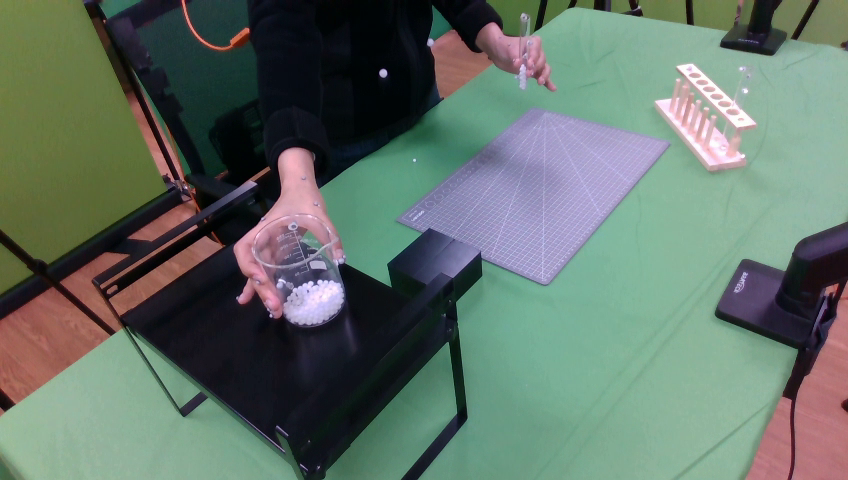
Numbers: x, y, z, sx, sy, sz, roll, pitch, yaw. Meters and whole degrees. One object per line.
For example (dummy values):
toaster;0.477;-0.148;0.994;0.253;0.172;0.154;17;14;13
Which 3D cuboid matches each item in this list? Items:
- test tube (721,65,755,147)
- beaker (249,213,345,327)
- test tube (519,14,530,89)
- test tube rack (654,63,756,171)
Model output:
test tube;0.534;-0.226;1.031;0.017;0.151;0.017;-2;40;2
beaker;-0.121;0.033;0.614;0.084;0.101;0.073;-7;45;2
test tube;0.165;-0.304;0.990;0.017;0.151;0.017;-3;59;6
test tube rack;0.511;-0.233;1.120;0.067;0.085;0.241;-8;41;-1
